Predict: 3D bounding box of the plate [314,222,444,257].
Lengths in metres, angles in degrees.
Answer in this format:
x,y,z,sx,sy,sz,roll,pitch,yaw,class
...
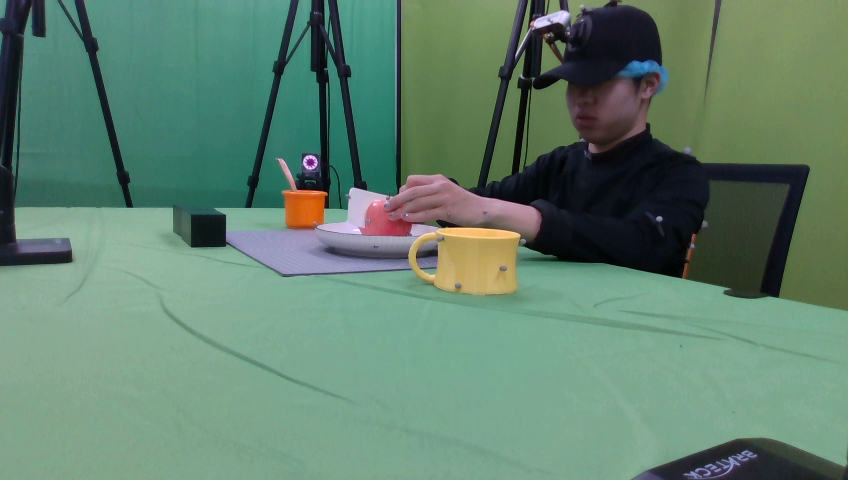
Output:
x,y,z,sx,sy,sz,roll,pitch,yaw,class
-0.066,-0.002,0.948,0.209,0.038,0.209,3,7,0,plate

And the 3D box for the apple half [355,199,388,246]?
x,y,z,sx,sy,sz,roll,pitch,yaw,class
-0.088,-0.027,0.945,0.032,0.081,0.081,1,6,28,apple half

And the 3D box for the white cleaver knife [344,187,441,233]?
x,y,z,sx,sy,sz,roll,pitch,yaw,class
-0.048,-0.044,0.992,0.021,0.066,0.288,1,-1,30,white cleaver knife

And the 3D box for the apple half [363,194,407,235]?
x,y,z,sx,sy,sz,roll,pitch,yaw,class
-0.055,-0.028,0.931,0.053,0.074,0.081,20,14,17,apple half

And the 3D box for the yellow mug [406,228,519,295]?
x,y,z,sx,sy,sz,roll,pitch,yaw,class
0.044,0.022,0.707,0.131,0.064,0.100,2,7,5,yellow mug

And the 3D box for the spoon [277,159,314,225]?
x,y,z,sx,sy,sz,roll,pitch,yaw,class
-0.272,-0.103,1.260,0.042,0.193,0.021,-4,-34,-33,spoon
